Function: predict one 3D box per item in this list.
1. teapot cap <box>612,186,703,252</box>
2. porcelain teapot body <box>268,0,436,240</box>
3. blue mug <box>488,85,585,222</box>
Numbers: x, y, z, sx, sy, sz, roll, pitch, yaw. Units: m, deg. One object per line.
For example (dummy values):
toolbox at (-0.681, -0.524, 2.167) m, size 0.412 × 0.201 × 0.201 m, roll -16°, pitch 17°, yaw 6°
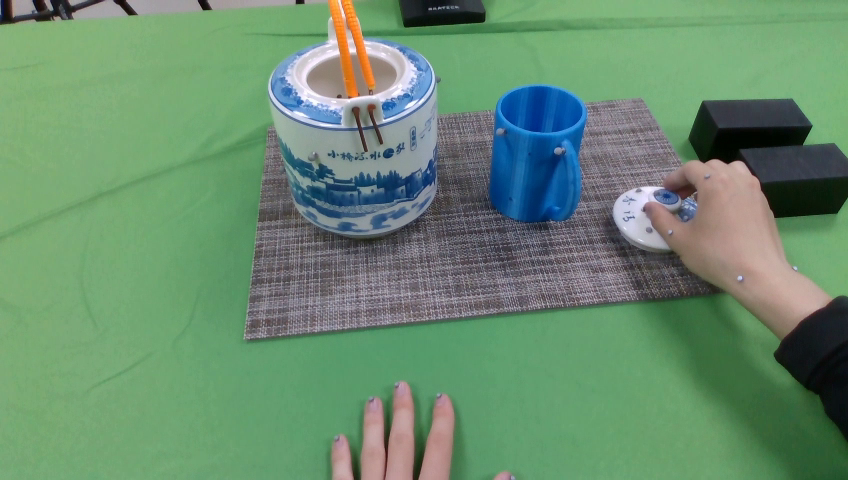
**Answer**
teapot cap at (0.221, -0.026, 0.571) m, size 0.085 × 0.044 × 0.084 m, roll 1°, pitch 45°, yaw -1°
porcelain teapot body at (-0.068, -0.138, 0.557) m, size 0.145 × 0.227 × 0.203 m, roll -11°, pitch 47°, yaw -9°
blue mug at (0.112, -0.072, 0.573) m, size 0.082 × 0.107 × 0.115 m, roll -18°, pitch 49°, yaw -15°
